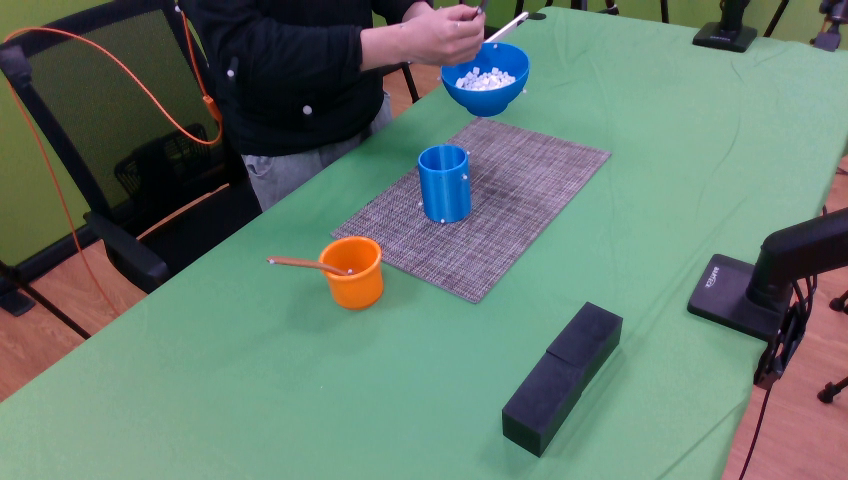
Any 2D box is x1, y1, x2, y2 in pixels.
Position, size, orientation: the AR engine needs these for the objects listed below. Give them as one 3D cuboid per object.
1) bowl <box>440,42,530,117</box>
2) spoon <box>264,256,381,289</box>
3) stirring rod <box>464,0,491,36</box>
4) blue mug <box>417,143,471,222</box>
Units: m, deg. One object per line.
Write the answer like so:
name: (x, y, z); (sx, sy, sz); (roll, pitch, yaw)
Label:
bowl: (0.105, -0.264, 1.030); (0.151, 0.077, 0.150); (-5, 47, 6)
spoon: (-0.136, 0.041, 0.842); (0.021, 0.195, 0.041); (-56, 46, 13)
stirring rod: (0.081, -0.338, 0.910); (0.014, 0.006, 0.175); (-37, 6, -4)
blue mug: (0.031, -0.104, 1.014); (0.082, 0.106, 0.115); (-14, 41, -7)
